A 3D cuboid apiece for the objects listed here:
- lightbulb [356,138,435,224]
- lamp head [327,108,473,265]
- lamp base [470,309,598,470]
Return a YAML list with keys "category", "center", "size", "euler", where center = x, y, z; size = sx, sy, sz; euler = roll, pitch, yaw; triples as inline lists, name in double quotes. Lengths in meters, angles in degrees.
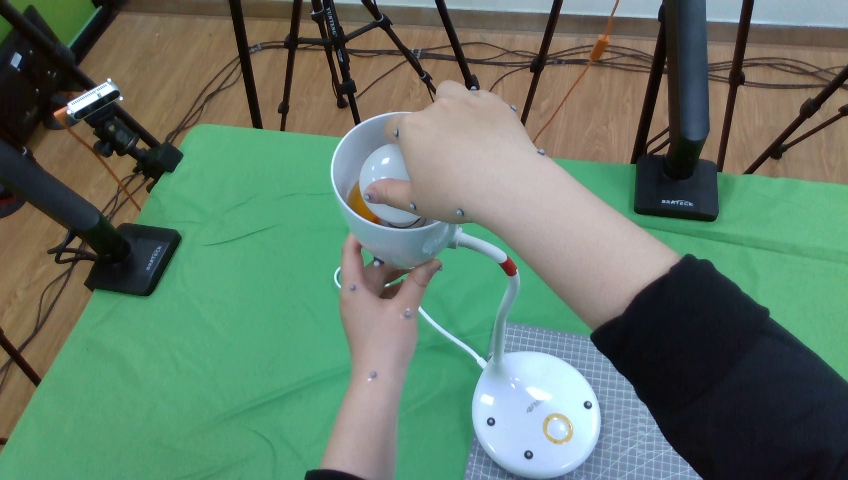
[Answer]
- category: "lightbulb"
  center: [-0.021, -0.038, 0.480]
  size: [0.059, 0.108, 0.059]
  euler: [0, 69, 2]
- category: "lamp head"
  center: [-0.014, -0.030, 0.505]
  size: [0.112, 0.124, 0.111]
  euler: [-2, 60, 4]
- category: "lamp base"
  center: [0.120, 0.161, 0.710]
  size: [0.177, 0.182, 0.160]
  euler: [32, 65, 28]
